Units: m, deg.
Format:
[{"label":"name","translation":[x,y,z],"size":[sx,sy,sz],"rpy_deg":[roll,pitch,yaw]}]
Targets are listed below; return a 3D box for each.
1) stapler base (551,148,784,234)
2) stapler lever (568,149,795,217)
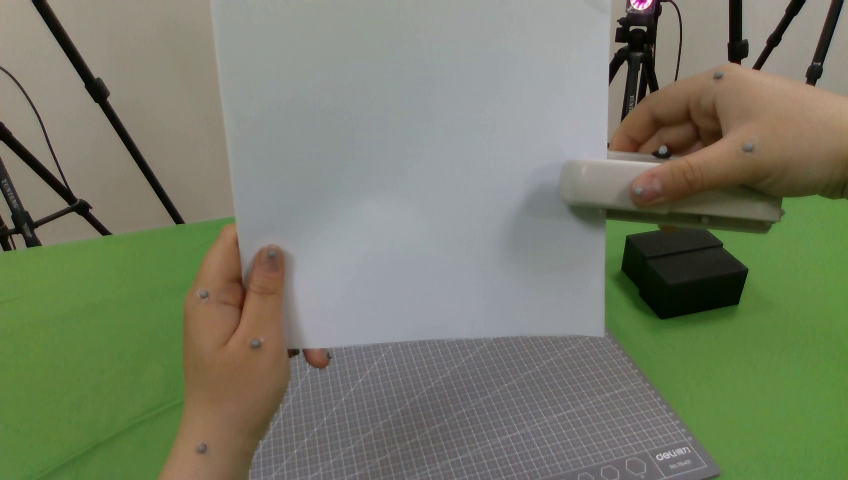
[{"label":"stapler base","translation":[0.140,-0.030,0.346],"size":[0.130,0.041,0.024],"rpy_deg":[6,1,6]},{"label":"stapler lever","translation":[0.138,-0.031,0.328],"size":[0.117,0.027,0.040],"rpy_deg":[6,1,14]}]
